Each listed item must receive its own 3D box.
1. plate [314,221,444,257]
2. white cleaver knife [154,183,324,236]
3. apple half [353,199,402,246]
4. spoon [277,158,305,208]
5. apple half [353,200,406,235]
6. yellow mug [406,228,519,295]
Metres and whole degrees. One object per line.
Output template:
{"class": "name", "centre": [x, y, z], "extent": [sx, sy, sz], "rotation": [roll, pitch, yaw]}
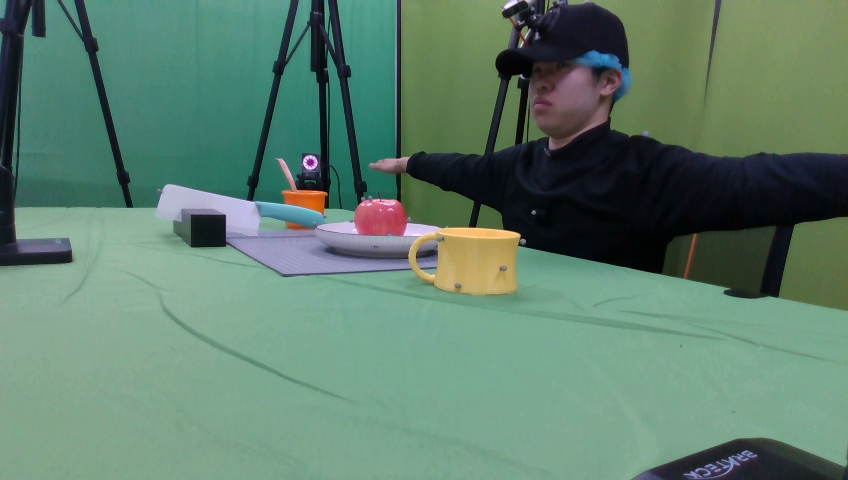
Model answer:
{"class": "plate", "centre": [-0.067, -0.002, 0.948], "extent": [0.209, 0.038, 0.209], "rotation": [3, 7, 0]}
{"class": "white cleaver knife", "centre": [-0.310, -0.042, 1.049], "extent": [0.288, 0.066, 0.021], "rotation": [10, 5, -28]}
{"class": "apple half", "centre": [-0.076, -0.029, 0.946], "extent": [0.081, 0.081, 0.032], "rotation": [0, 12, -18]}
{"class": "spoon", "centre": [-0.272, -0.103, 1.260], "extent": [0.042, 0.193, 0.021], "rotation": [-5, -34, -33]}
{"class": "apple half", "centre": [-0.064, -0.023, 0.909], "extent": [0.081, 0.074, 0.053], "rotation": [3, 11, -17]}
{"class": "yellow mug", "centre": [0.044, 0.022, 0.707], "extent": [0.131, 0.064, 0.100], "rotation": [2, 7, 4]}
